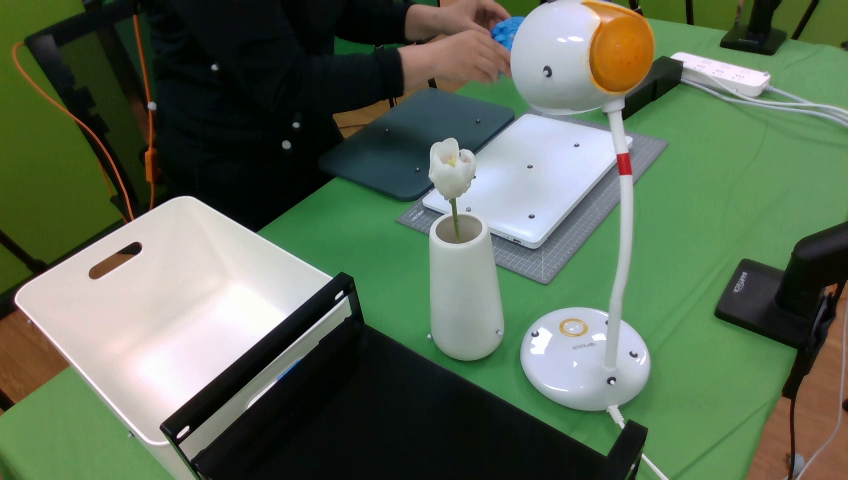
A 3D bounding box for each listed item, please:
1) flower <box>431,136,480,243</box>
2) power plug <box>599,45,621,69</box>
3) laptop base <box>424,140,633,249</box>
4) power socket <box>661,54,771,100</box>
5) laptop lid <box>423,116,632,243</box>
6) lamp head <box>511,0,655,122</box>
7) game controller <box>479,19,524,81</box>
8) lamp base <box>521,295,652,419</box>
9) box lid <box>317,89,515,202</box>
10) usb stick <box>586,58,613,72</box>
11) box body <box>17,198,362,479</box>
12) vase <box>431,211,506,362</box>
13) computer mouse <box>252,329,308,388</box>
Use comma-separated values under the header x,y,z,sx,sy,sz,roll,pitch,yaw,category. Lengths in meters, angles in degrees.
x,y,z,sx,sy,sz,roll,pitch,yaw,category
0.041,0.011,0.691,0.044,0.363,0.038,16,62,14,flower
0.436,-0.421,1.413,0.053,0.035,0.072,-18,76,-47,power plug
0.194,-0.117,1.087,0.233,0.023,0.355,21,47,34,laptop base
0.615,-0.349,1.285,0.072,0.033,0.225,-36,48,-28,power socket
0.190,-0.126,1.081,0.239,0.013,0.358,23,48,34,laptop lid
0.155,-0.168,0.563,0.113,0.113,0.122,-18,23,-12,lamp head
0.146,-0.341,1.063,0.097,0.052,0.154,-2,45,12,game controller
0.201,0.095,0.710,0.161,0.181,0.177,-16,43,-10,lamp base
-0.009,-0.207,1.236,0.261,0.015,0.372,23,49,32,box lid
0.401,-0.399,1.381,0.059,0.027,0.021,1,47,21,usb stick
-0.285,0.123,0.766,0.361,0.161,0.255,25,49,33,box body
0.054,0.062,0.757,0.098,0.201,0.097,-3,40,3,vase
-0.168,0.161,0.790,0.116,0.041,0.063,31,50,27,computer mouse
